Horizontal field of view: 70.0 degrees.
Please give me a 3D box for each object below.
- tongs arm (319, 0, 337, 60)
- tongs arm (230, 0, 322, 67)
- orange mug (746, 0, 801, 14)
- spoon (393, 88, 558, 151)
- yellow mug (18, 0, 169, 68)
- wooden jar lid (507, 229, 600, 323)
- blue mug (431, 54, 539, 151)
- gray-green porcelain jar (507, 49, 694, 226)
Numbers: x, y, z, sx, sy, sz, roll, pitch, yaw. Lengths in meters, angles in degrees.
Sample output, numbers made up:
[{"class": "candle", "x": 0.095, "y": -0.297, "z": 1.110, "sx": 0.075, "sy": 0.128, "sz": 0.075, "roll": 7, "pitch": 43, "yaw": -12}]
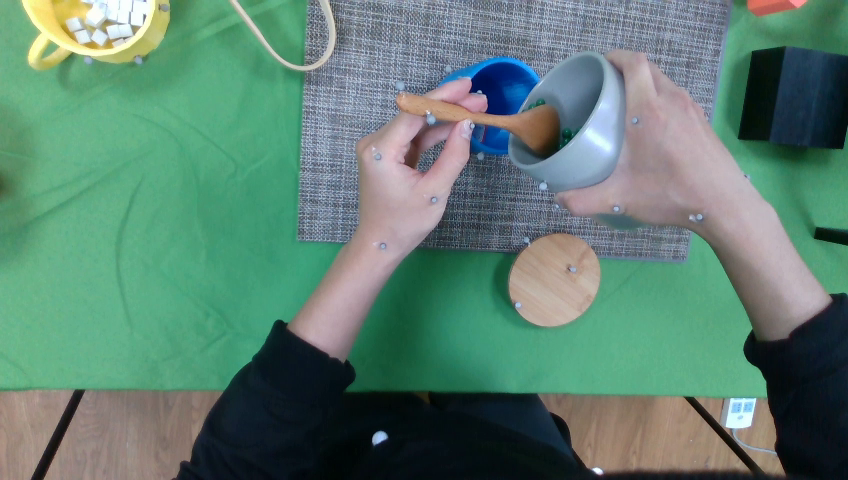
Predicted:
[{"class": "tongs arm", "x": -0.140, "y": -0.347, "z": 0.503, "sx": 0.028, "sy": 0.027, "sz": 0.390, "roll": -24, "pitch": 113, "yaw": -16}, {"class": "tongs arm", "x": -0.212, "y": -0.305, "z": 0.492, "sx": 0.051, "sy": 0.026, "sz": 0.388, "roll": -36, "pitch": 114, "yaw": -7}, {"class": "orange mug", "x": 0.389, "y": -0.298, "z": 0.623, "sx": 0.084, "sy": 0.100, "sz": 0.126, "roll": 27, "pitch": 90, "yaw": -16}, {"class": "spoon", "x": 0.048, "y": -0.094, "z": 0.460, "sx": 0.195, "sy": 0.021, "sz": 0.042, "roll": -2, "pitch": 107, "yaw": -43}, {"class": "yellow mug", "x": -0.283, "y": -0.192, "z": 0.505, "sx": 0.100, "sy": 0.063, "sz": 0.131, "roll": 43, "pitch": 91, "yaw": -18}, {"class": "wooden jar lid", "x": 0.143, "y": 0.039, "z": 0.676, "sx": 0.108, "sy": 0.020, "sz": 0.109, "roll": -3, "pitch": 106, "yaw": -11}, {"class": "blue mug", "x": 0.070, "y": -0.120, "z": 0.579, "sx": 0.117, "sy": 0.105, "sz": 0.082, "roll": 30, "pitch": 93, "yaw": -17}, {"class": "gray-green porcelain jar", "x": 0.150, "y": -0.078, "z": 0.505, "sx": 0.127, "sy": 0.105, "sz": 0.106, "roll": 28, "pitch": 94, "yaw": -27}]
